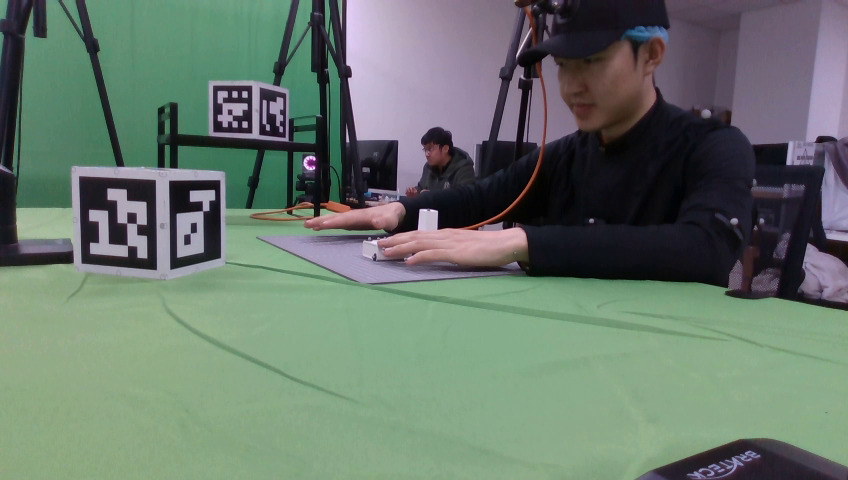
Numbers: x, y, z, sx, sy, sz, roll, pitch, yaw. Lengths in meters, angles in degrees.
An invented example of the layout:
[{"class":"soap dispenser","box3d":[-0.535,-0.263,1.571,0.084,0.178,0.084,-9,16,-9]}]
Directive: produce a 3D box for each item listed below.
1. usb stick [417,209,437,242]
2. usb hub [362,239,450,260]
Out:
[{"class":"usb stick","box3d":[0.004,-0.016,0.904,0.021,0.059,0.027,-3,8,-32]},{"class":"usb hub","box3d":[-0.026,0.013,0.894,0.126,0.025,0.049,-1,7,-31]}]
